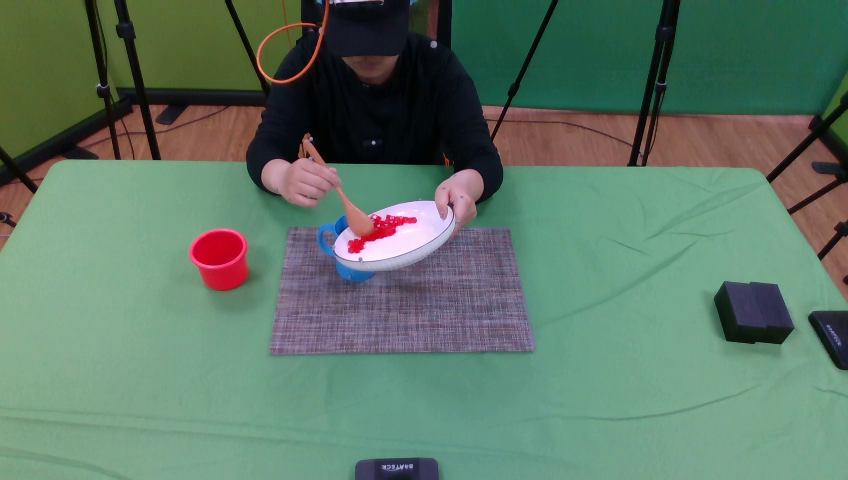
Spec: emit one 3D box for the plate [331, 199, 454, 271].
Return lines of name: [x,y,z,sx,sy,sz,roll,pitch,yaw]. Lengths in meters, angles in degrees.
plate: [-0.048,-0.004,0.994,0.207,0.039,0.206,-14,25,7]

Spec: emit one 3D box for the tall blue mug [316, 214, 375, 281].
tall blue mug: [-0.141,0.014,1.109,0.107,0.108,0.077,-4,47,-9]

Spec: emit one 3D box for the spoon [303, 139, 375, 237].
spoon: [-0.146,-0.086,1.019,0.041,0.194,0.021,-30,11,17]
